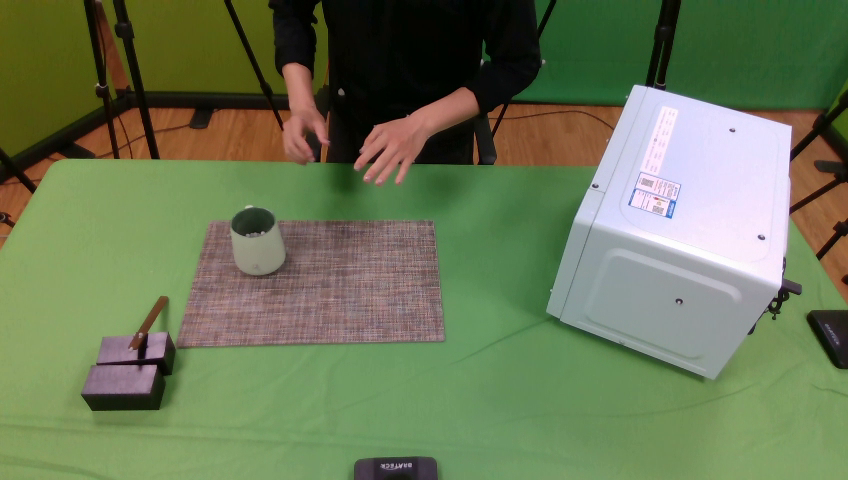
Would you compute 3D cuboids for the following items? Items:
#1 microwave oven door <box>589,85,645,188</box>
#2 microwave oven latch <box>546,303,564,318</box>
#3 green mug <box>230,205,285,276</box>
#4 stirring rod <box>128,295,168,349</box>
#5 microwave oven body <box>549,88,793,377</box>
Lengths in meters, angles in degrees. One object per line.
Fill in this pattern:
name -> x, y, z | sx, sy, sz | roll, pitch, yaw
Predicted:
microwave oven door -> 0.342, -0.107, 1.149 | 0.039, 0.245, 0.354 | 20, 48, 15
microwave oven latch -> 0.242, 0.102, 1.081 | 0.030, 0.029, 0.079 | 21, 48, 17
green mug -> -0.311, -0.008, 1.118 | 0.092, 0.105, 0.124 | -14, 48, -16
stirring rod -> -0.451, 0.131, 0.996 | 0.014, 0.006, 0.175 | 9, 21, -10
microwave oven body -> 0.456, -0.028, 1.088 | 0.325, 0.261, 0.440 | 20, 47, 16
